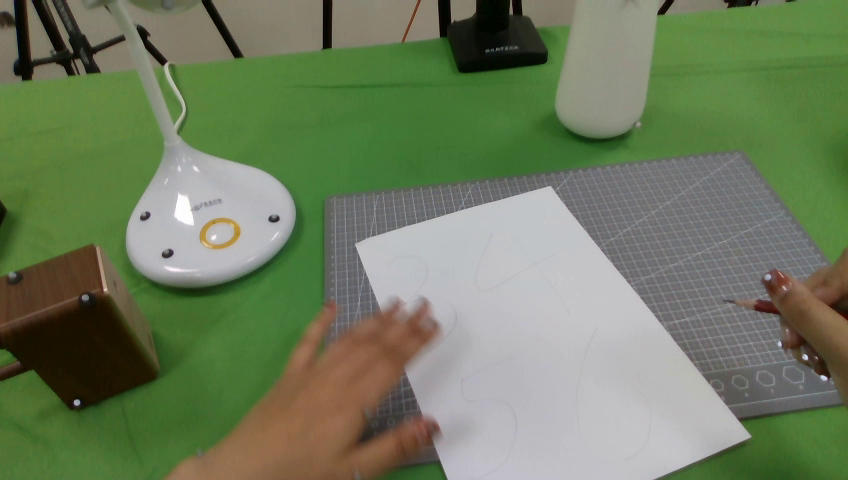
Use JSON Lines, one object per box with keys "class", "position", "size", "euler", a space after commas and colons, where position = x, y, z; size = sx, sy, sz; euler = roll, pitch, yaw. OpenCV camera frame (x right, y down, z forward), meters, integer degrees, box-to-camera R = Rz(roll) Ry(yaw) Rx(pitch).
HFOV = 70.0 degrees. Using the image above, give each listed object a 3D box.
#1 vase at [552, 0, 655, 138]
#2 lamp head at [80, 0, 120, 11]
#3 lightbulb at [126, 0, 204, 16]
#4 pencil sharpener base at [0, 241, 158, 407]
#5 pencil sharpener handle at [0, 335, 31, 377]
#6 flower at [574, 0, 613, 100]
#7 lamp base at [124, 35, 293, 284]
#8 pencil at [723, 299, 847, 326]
{"class": "vase", "position": [0.190, -0.208, 0.636], "size": [0.098, 0.202, 0.097], "euler": [-2, 45, 3]}
{"class": "lamp head", "position": [-0.165, -0.200, 0.321], "size": [0.112, 0.124, 0.111], "euler": [-25, 23, 12]}
{"class": "lightbulb", "position": [-0.154, -0.177, 0.326], "size": [0.059, 0.108, 0.059], "euler": [-15, 24, 7]}
{"class": "pencil sharpener base", "position": [-0.260, 0.066, 0.457], "size": [0.077, 0.108, 0.060], "euler": [-22, 49, -17]}
{"class": "pencil sharpener handle", "position": [-0.306, 0.075, 0.433], "size": [0.031, 0.068, 0.035], "euler": [-23, 52, -17]}
{"class": "flower", "position": [0.183, -0.250, 0.563], "size": [0.044, 0.364, 0.038], "euler": [34, 69, 15]}
{"class": "lamp base", "position": [-0.221, -0.079, 0.546], "size": [0.160, 0.182, 0.177], "euler": [-31, 49, -24]}
{"class": "pencil", "position": [0.262, 0.048, 0.326], "size": [0.192, 0.012, 0.012], "euler": [7, 41, 44]}
